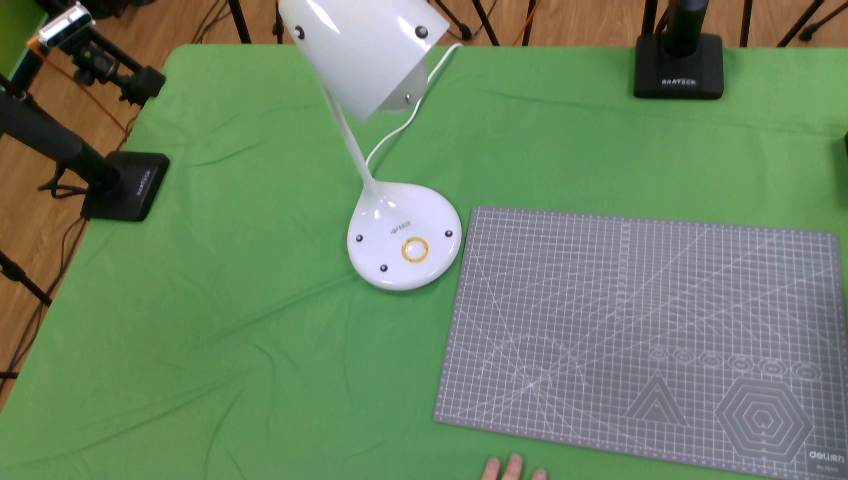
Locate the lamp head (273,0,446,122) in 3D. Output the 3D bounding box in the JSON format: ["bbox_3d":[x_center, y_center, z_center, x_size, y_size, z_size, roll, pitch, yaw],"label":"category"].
[{"bbox_3d":[-0.061,-0.175,0.495,0.123,0.112,0.112,40,74,-9],"label":"lamp head"}]

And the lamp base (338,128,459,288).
[{"bbox_3d":[-0.054,-0.051,0.767,0.160,0.182,0.177,-40,60,-10],"label":"lamp base"}]
